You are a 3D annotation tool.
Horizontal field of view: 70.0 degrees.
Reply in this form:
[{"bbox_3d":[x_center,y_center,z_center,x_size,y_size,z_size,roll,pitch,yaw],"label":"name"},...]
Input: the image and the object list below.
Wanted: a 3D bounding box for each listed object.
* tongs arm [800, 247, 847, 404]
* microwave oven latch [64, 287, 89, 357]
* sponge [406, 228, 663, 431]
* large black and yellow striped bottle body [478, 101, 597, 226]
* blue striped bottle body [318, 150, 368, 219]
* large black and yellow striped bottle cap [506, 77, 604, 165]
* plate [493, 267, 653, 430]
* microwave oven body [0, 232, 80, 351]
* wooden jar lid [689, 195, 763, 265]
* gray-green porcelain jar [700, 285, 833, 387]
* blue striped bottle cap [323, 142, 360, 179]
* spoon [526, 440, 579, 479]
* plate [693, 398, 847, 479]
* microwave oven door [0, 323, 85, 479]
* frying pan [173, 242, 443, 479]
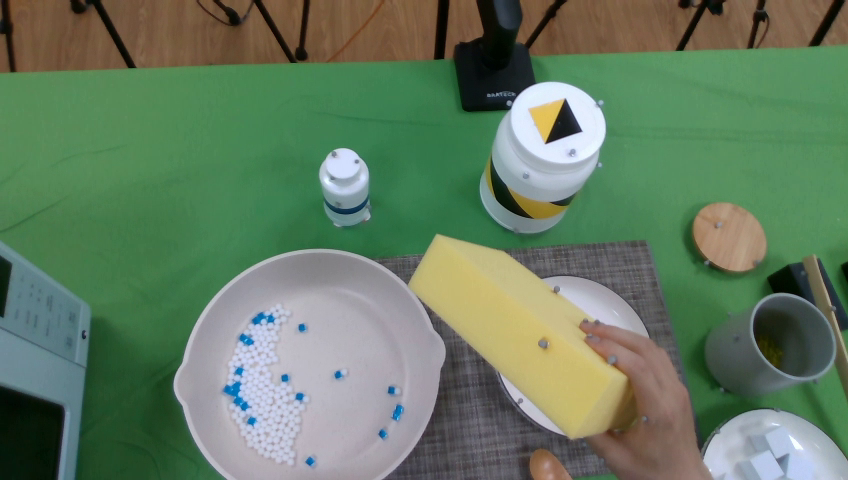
[{"bbox_3d":[0.557,0.192,0.765,0.051,0.026,0.383,-8,79,-10],"label":"tongs arm"},{"bbox_3d":[-0.416,0.097,0.716,0.030,0.029,0.078,-2,69,-7],"label":"microwave oven latch"},{"bbox_3d":[0.095,0.075,0.547,0.204,0.119,0.061,40,108,35],"label":"sponge"},{"bbox_3d":[0.149,-0.111,0.797,0.131,0.185,0.130,2,67,-4],"label":"large black and yellow striped bottle body"},{"bbox_3d":[-0.105,-0.080,0.793,0.063,0.121,0.062,2,68,-5],"label":"blue striped bottle body"},{"bbox_3d":[0.156,-0.143,0.718,0.115,0.019,0.114,2,67,-4],"label":"large black and yellow striped bottle cap"},{"bbox_3d":[0.186,0.137,0.776,0.209,0.038,0.207,2,68,-4],"label":"plate"},{"bbox_3d":[-0.538,0.232,0.545,0.327,0.261,0.438,-3,69,-7],"label":"microwave oven body"},{"bbox_3d":[0.433,-0.013,0.875,0.108,0.021,0.107,2,69,-5],"label":"wooden jar lid"},{"bbox_3d":[0.420,0.125,0.760,0.106,0.127,0.105,2,68,-5],"label":"gray-green porcelain jar"},{"bbox_3d":[-0.101,-0.098,0.745,0.044,0.021,0.044,1,65,-3],"label":"blue striped bottle cap"},{"bbox_3d":[0.200,0.305,0.720,0.193,0.022,0.041,35,52,7],"label":"spoon"},{"bbox_3d":[0.427,0.300,0.739,0.208,0.039,0.206,2,68,-4],"label":"plate"},{"bbox_3d":[-0.389,0.261,0.543,0.039,0.245,0.353,-4,68,-7],"label":"microwave oven door"},{"bbox_3d":[-0.117,0.236,0.672,0.307,0.103,0.483,-6,61,-6],"label":"frying pan"}]
